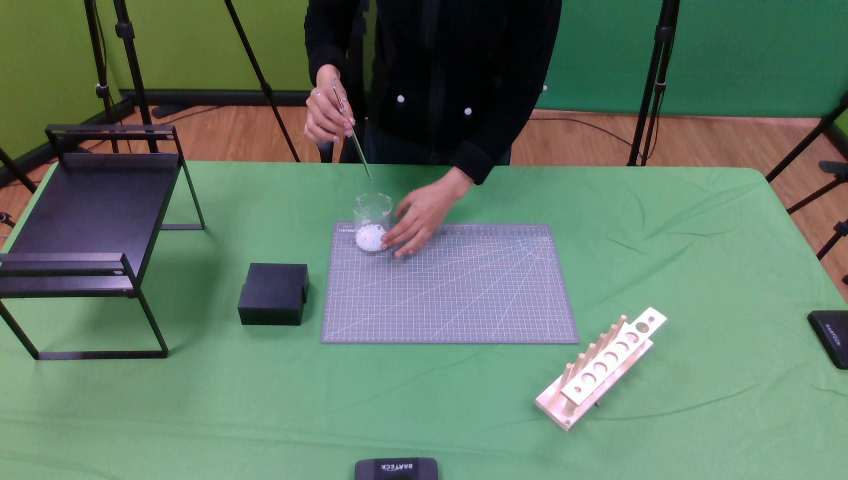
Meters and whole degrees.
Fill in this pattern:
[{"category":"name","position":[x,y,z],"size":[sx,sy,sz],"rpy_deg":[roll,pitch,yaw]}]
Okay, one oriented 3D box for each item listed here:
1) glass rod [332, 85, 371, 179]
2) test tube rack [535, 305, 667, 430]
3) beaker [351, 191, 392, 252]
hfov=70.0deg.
[{"category":"glass rod","position":[-0.122,-0.182,1.045],"size":[0.008,0.201,0.008],"rpy_deg":[-9,45,10]},{"category":"test tube rack","position":[0.290,0.193,0.984],"size":[0.242,0.085,0.066],"rpy_deg":[-32,57,-30]},{"category":"beaker","position":[-0.097,-0.034,1.162],"size":[0.084,0.101,0.073],"rpy_deg":[-29,55,-28]}]
